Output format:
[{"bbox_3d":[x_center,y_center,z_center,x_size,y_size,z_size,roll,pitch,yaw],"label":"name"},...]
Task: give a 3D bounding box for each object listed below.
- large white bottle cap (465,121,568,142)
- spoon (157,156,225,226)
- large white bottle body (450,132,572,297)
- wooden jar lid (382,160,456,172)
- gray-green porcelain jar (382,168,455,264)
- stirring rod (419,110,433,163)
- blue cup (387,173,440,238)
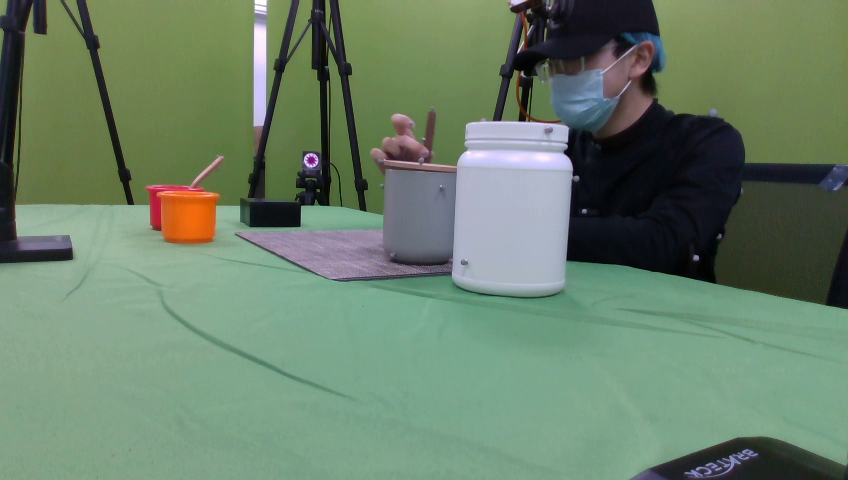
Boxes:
[{"bbox_3d":[0.103,-0.120,0.677,0.115,0.018,0.115,3,7,0],"label":"large white bottle cap"},{"bbox_3d":[-0.425,-0.094,1.117,0.041,0.022,0.194,3,50,30],"label":"spoon"},{"bbox_3d":[0.099,-0.037,0.688,0.131,0.184,0.130,2,7,0],"label":"large white bottle body"},{"bbox_3d":[-0.003,-0.096,0.826,0.108,0.020,0.108,5,10,0],"label":"wooden jar lid"},{"bbox_3d":[-0.005,-0.034,0.834,0.106,0.126,0.106,3,7,0],"label":"gray-green porcelain jar"},{"bbox_3d":[-0.002,-0.121,0.965,0.014,0.176,0.006,7,2,22],"label":"stirring rod"},{"bbox_3d":[-0.019,-0.055,0.985,0.093,0.100,0.092,4,5,0],"label":"blue cup"}]
